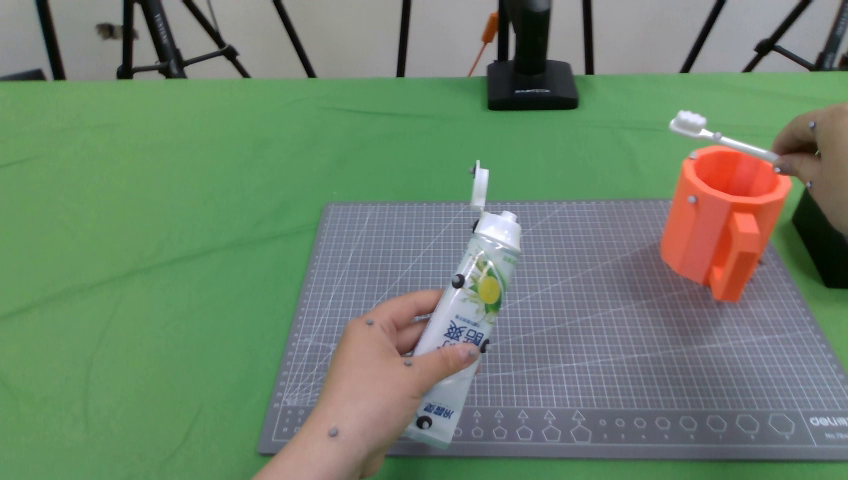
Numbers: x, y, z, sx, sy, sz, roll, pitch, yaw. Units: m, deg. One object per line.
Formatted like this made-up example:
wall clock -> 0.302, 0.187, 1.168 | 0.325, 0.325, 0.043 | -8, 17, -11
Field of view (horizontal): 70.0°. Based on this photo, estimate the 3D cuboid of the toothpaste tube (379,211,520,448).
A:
toothpaste tube -> 0.024, 0.056, 0.407 | 0.055, 0.165, 0.034 | 23, -3, -11

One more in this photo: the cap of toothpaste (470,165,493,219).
cap of toothpaste -> 0.040, -0.033, 0.414 | 0.011, 0.037, 0.037 | 9, 43, 11

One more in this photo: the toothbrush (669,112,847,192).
toothbrush -> 0.264, -0.054, 0.426 | 0.181, 0.017, 0.014 | 23, 57, 11

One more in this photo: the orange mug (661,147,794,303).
orange mug -> 0.265, -0.010, 0.532 | 0.083, 0.102, 0.125 | 5, 38, 10
